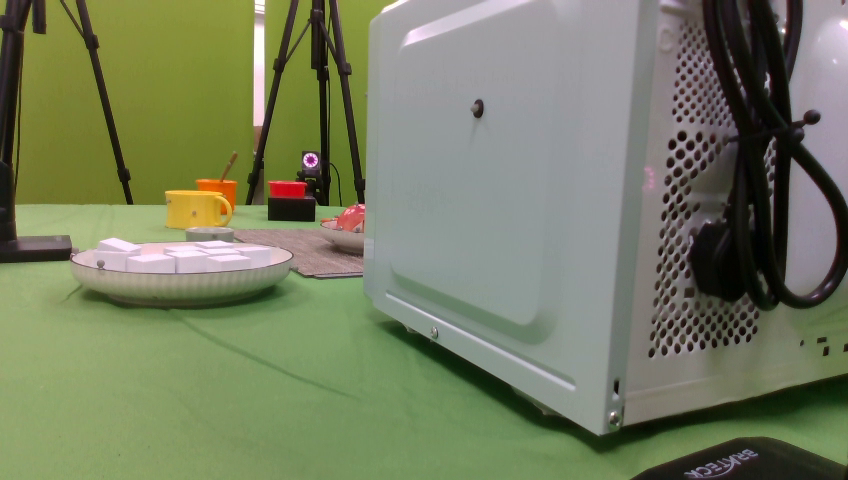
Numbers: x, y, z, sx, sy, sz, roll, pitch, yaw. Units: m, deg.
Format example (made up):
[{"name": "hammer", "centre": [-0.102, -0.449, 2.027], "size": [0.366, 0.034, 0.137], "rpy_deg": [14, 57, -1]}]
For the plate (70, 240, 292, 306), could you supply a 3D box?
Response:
[{"name": "plate", "centre": [-0.242, 0.031, 0.618], "size": [0.208, 0.039, 0.207], "rpy_deg": [3, 8, 0]}]

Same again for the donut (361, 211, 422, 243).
[{"name": "donut", "centre": [-0.051, -0.020, 0.958], "size": [0.099, 0.048, 0.099], "rpy_deg": [5, 7, 0]}]

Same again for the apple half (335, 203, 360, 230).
[{"name": "apple half", "centre": [-0.116, -0.038, 0.959], "size": [0.081, 0.033, 0.081], "rpy_deg": [-37, 8, 7]}]

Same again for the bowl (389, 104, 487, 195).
[{"name": "bowl", "centre": [0.031, -0.120, 0.901], "size": [0.152, 0.076, 0.151], "rpy_deg": [-14, -30, -8]}]

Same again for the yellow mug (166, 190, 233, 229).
[{"name": "yellow mug", "centre": [-0.415, -0.057, 1.132], "size": [0.130, 0.064, 0.100], "rpy_deg": [6, 8, 16]}]

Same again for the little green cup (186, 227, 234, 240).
[{"name": "little green cup", "centre": [-0.284, 0.005, 0.805], "size": [0.061, 0.038, 0.061], "rpy_deg": [2, 8, 0]}]

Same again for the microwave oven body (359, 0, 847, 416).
[{"name": "microwave oven body", "centre": [0.211, -0.047, 0.474], "size": [0.444, 0.260, 0.324], "rpy_deg": [-1, 7, -28]}]

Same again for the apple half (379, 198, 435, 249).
[{"name": "apple half", "centre": [-0.020, -0.030, 0.891], "size": [0.081, 0.053, 0.074], "rpy_deg": [-2, 49, -26]}]

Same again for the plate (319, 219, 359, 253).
[{"name": "plate", "centre": [-0.058, -0.007, 0.939], "size": [0.209, 0.038, 0.209], "rpy_deg": [3, 8, 0]}]

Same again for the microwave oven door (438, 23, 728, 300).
[{"name": "microwave oven door", "centre": [0.181, -0.072, 0.621], "size": [0.358, 0.243, 0.039], "rpy_deg": [-2, 8, -29]}]

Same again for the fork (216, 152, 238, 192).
[{"name": "fork", "centre": [-0.455, -0.132, 1.367], "size": [0.028, 0.018, 0.207], "rpy_deg": [-2, -35, -37]}]

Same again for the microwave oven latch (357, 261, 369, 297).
[{"name": "microwave oven latch", "centre": [-0.019, 0.033, 0.531], "size": [0.079, 0.029, 0.030], "rpy_deg": [-1, 7, -27]}]

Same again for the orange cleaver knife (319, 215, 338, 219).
[{"name": "orange cleaver knife", "centre": [-0.142, -0.057, 1.394], "size": [0.077, 0.012, 0.212], "rpy_deg": [2, 7, 44]}]

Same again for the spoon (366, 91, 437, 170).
[{"name": "spoon", "centre": [-0.040, -0.183, 0.993], "size": [0.042, 0.193, 0.021], "rpy_deg": [-22, -24, -30]}]
